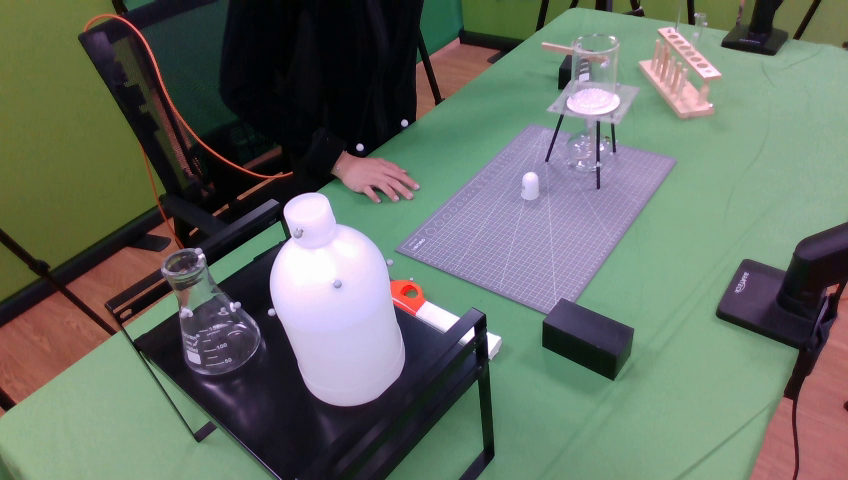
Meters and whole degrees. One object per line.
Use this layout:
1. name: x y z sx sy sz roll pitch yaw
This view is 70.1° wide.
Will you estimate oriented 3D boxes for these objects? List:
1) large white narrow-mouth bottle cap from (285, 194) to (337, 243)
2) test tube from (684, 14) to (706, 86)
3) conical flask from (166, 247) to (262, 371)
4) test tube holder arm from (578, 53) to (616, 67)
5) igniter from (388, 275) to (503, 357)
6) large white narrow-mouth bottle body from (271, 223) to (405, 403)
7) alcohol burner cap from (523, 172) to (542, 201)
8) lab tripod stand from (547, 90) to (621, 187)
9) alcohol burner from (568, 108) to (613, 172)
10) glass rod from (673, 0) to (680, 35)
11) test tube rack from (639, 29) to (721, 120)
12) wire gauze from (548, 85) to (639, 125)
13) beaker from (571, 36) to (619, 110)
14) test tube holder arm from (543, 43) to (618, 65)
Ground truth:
1. large white narrow-mouth bottle cap: -0.087 -0.017 0.468 0.038 0.024 0.037 -5 40 4
2. test tube: 0.541 -0.378 1.215 0.017 0.151 0.017 -2 44 3
3. conical flask: -0.209 0.064 0.584 0.075 0.122 0.075 -4 41 4
4. test tube holder arm: 0.376 -0.394 1.314 0.087 0.015 0.010 26 51 32
5. igniter: -0.008 0.093 0.870 0.274 0.025 0.057 24 60 33
6. large white narrow-mouth bottle body: -0.077 0.048 0.525 0.102 0.195 0.101 -5 40 5
7. alcohol burner cap: 0.186 -0.096 1.047 0.034 0.048 0.033 -6 37 5
8. lab tripod stand: 0.289 -0.184 1.062 0.148 0.132 0.147 -6 41 6
9. alcohol burner: 0.296 -0.182 1.074 0.078 0.119 0.077 -5 43 5
10. glass rod: 0.512 -0.513 1.206 0.008 0.200 0.008 -4 30 3
11. test tube rack: 0.527 -0.351 1.262 0.067 0.085 0.241 -8 40 1
12. wire gauze: 0.286 -0.233 1.020 0.124 0.011 0.122 15 43 30
13. beaker: 0.281 -0.273 0.992 0.084 0.101 0.073 -23 42 -16
14. test tube holder arm: 0.345 -0.413 1.341 0.177 0.015 0.013 25 50 31
